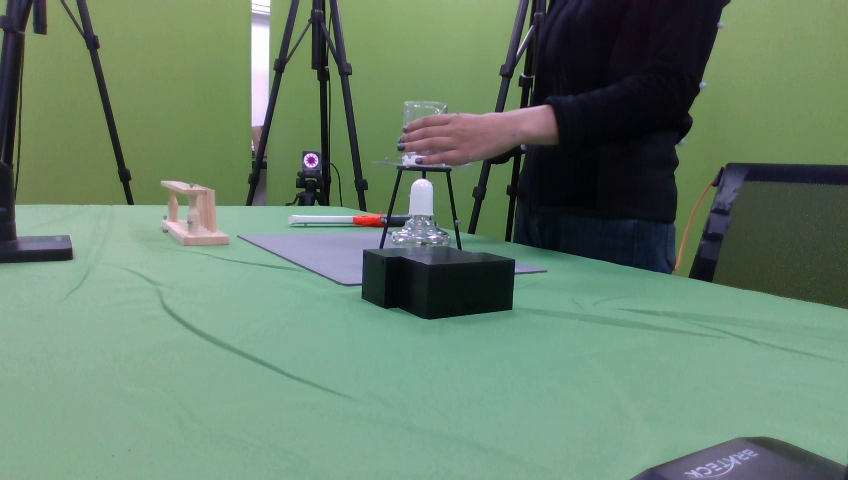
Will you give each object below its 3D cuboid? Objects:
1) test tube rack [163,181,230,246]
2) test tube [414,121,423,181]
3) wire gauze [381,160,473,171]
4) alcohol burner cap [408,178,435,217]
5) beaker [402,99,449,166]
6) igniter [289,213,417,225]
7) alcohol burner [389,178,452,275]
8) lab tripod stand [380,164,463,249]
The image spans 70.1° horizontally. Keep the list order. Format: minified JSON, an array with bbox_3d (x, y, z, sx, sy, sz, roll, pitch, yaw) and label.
[{"bbox_3d":[-0.387,-0.050,1.015,0.067,0.085,0.241,-2,9,-30],"label":"test tube rack"},{"bbox_3d":[-0.010,-0.146,1.123,0.017,0.150,0.017,0,4,0],"label":"test tube"},{"bbox_3d":[-0.004,-0.120,0.959,0.122,0.011,0.124,-5,13,-32],"label":"wire gauze"},{"bbox_3d":[-0.002,-0.053,0.746,0.034,0.048,0.034,2,3,0],"label":"alcohol burner cap"},{"bbox_3d":[0.003,-0.168,0.957,0.073,0.100,0.084,8,11,35],"label":"beaker"},{"bbox_3d":[-0.144,-0.044,1.275,0.278,0.025,0.057,-1,-1,-27],"label":"igniter"},{"bbox_3d":[-0.004,-0.017,0.749,0.078,0.119,0.078,1,9,0],"label":"alcohol burner"},{"bbox_3d":[-0.003,-0.055,0.967,0.148,0.131,0.148,2,9,0],"label":"lab tripod stand"}]
